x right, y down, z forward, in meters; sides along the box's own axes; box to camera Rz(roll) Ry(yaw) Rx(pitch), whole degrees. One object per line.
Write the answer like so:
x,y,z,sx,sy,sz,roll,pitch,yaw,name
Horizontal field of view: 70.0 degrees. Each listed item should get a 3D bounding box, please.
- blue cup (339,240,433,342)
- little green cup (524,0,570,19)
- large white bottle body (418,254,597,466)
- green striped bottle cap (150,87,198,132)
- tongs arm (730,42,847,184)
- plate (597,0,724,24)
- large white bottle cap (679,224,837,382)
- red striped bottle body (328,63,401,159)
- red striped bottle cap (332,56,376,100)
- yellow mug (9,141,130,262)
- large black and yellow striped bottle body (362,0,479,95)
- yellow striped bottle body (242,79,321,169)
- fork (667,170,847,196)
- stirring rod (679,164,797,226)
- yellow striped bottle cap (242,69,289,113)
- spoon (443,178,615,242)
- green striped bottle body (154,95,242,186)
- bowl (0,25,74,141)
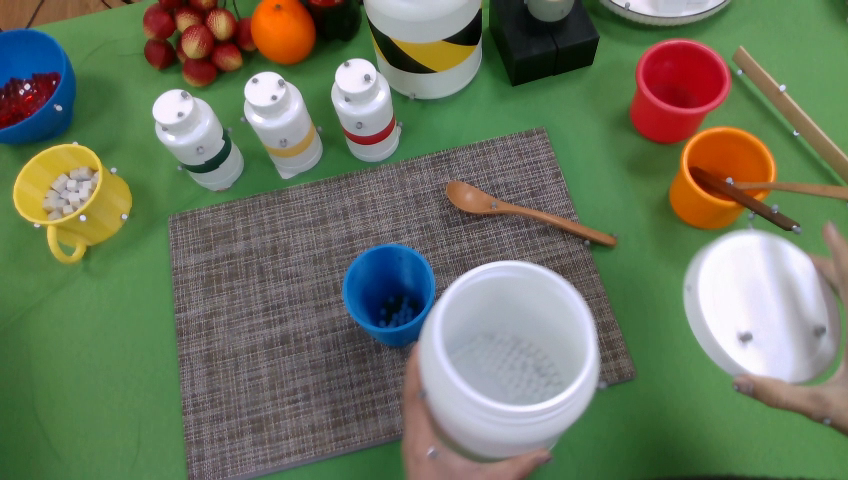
-0.032,0.059,0.590,0.092,0.101,0.092,-1,67,2,blue cup
0.144,-0.290,0.703,0.061,0.039,0.061,-1,66,3,little green cup
0.062,0.100,0.482,0.130,0.186,0.129,-1,61,1,large white bottle body
-0.256,-0.134,0.622,0.044,0.020,0.044,-1,67,3,green striped bottle cap
0.471,-0.080,0.649,0.051,0.027,0.381,-26,69,-8,tongs arm
0.296,-0.356,0.774,0.209,0.038,0.207,-1,68,3,plate
0.238,0.043,0.432,0.115,0.018,0.114,5,68,-11,large white bottle cap
-0.066,-0.146,0.670,0.063,0.120,0.062,-3,66,8,red striped bottle body
-0.072,-0.167,0.622,0.044,0.018,0.044,0,65,0,red striped bottle cap
-0.397,-0.039,0.678,0.100,0.064,0.130,-4,68,1,yellow mug
-0.003,-0.266,0.680,0.131,0.185,0.130,-1,68,4,large black and yellow striped bottle body
-0.159,-0.133,0.671,0.063,0.121,0.062,-2,68,5,yellow striped bottle body
0.330,-0.053,0.587,0.028,0.205,0.019,-35,114,-24,fork
0.301,-0.048,0.595,0.014,0.006,0.174,-12,24,-4,stirring rod
-0.163,-0.154,0.623,0.044,0.019,0.044,-1,69,3,yellow striped bottle cap
0.113,-0.031,0.659,0.193,0.022,0.041,16,45,10,spoon
-0.252,-0.114,0.670,0.063,0.120,0.062,-1,67,4,green striped bottle body
-0.488,-0.175,0.734,0.151,0.077,0.150,-1,68,3,bowl
